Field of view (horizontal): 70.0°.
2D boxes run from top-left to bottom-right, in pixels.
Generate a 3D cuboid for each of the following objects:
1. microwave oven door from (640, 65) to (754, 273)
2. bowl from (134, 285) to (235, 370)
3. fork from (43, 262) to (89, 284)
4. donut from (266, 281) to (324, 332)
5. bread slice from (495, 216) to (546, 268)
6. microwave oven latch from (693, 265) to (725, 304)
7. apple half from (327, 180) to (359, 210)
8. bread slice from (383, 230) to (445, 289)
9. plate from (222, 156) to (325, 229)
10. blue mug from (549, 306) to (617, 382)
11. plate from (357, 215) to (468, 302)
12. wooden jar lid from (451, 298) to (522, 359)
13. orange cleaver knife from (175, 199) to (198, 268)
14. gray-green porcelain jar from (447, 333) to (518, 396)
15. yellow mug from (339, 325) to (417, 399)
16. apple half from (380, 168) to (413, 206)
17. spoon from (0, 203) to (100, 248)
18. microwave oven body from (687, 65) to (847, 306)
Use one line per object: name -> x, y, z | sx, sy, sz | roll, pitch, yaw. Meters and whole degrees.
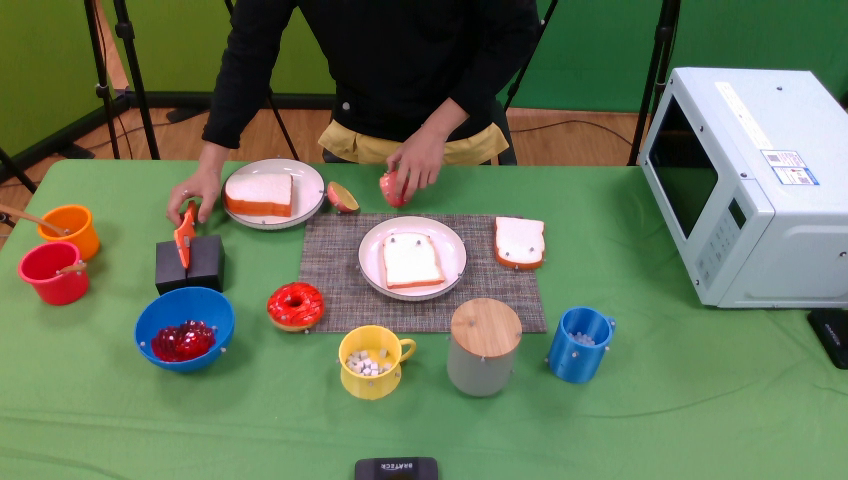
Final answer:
microwave oven door -> 0.522, -0.147, 1.193 | 0.039, 0.245, 0.353 | 0, 47, -3
bowl -> -0.377, 0.155, 0.981 | 0.151, 0.077, 0.150 | 2, 46, -2
fork -> -0.599, 0.053, 1.013 | 0.207, 0.019, 0.028 | -14, 30, 45
donut -> -0.222, 0.115, 1.049 | 0.099, 0.048, 0.098 | 2, 46, -2
bread slice -> 0.194, 0.002, 1.205 | 0.105, 0.019, 0.131 | 5, 45, 2
microwave oven latch -> 0.522, 0.081, 1.115 | 0.030, 0.029, 0.078 | 2, 46, -1
apple half -> -0.172, -0.084, 1.246 | 0.033, 0.082, 0.080 | -40, 50, 14
bread slice -> -0.028, 0.035, 1.145 | 0.107, 0.018, 0.133 | -7, 49, -11
plate -> -0.307, -0.095, 1.251 | 0.209, 0.038, 0.208 | 2, 46, -2
blue mug -> 0.269, 0.166, 0.998 | 0.116, 0.106, 0.082 | -19, 51, -21
plate -> -0.022, 0.037, 1.141 | 0.208, 0.039, 0.206 | 2, 46, -2
wooden jar lid -> 0.093, 0.135, 0.914 | 0.108, 0.021, 0.107 | 3, 48, -3
orange cleaver knife -> -0.438, -0.017, 1.138 | 0.012, 0.077, 0.210 | -14, 27, -7
gray-green porcelain jar -> 0.091, 0.178, 0.960 | 0.106, 0.127, 0.105 | 2, 46, -2
yellow mug -> -0.072, 0.190, 0.978 | 0.131, 0.064, 0.099 | -17, 50, -20
apple half -> -0.050, -0.113, 1.249 | 0.053, 0.075, 0.080 | -17, 12, 14
spoon -> -0.683, -0.031, 1.088 | 0.195, 0.021, 0.041 | 33, 33, -38
microwave oven body -> 0.669, -0.111, 1.176 | 0.326, 0.261, 0.439 | 0, 46, -3
